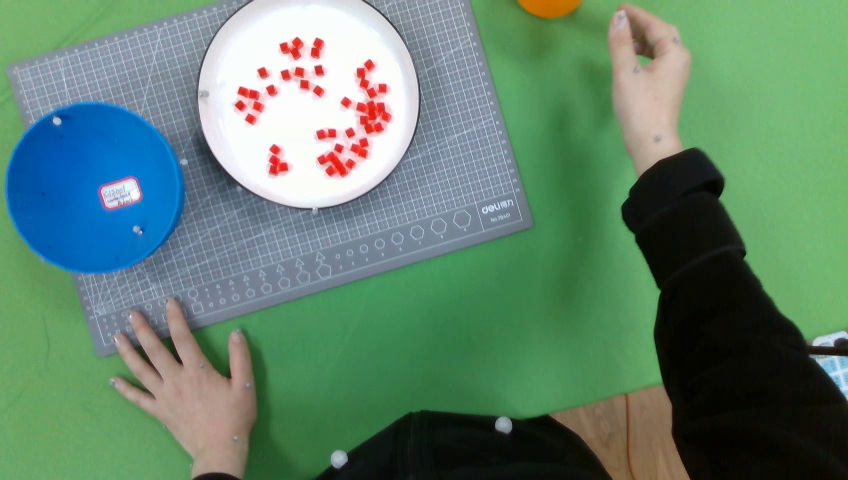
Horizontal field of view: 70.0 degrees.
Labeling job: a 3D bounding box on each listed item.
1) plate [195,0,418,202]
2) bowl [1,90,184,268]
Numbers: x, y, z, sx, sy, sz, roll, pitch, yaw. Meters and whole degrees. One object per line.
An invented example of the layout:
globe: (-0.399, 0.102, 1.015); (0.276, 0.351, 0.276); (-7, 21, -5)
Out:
plate: (-0.108, -0.140, 0.577); (0.209, 0.038, 0.209); (0, 92, -1)
bowl: (-0.286, -0.052, 0.556); (0.151, 0.077, 0.151); (0, 92, -2)
